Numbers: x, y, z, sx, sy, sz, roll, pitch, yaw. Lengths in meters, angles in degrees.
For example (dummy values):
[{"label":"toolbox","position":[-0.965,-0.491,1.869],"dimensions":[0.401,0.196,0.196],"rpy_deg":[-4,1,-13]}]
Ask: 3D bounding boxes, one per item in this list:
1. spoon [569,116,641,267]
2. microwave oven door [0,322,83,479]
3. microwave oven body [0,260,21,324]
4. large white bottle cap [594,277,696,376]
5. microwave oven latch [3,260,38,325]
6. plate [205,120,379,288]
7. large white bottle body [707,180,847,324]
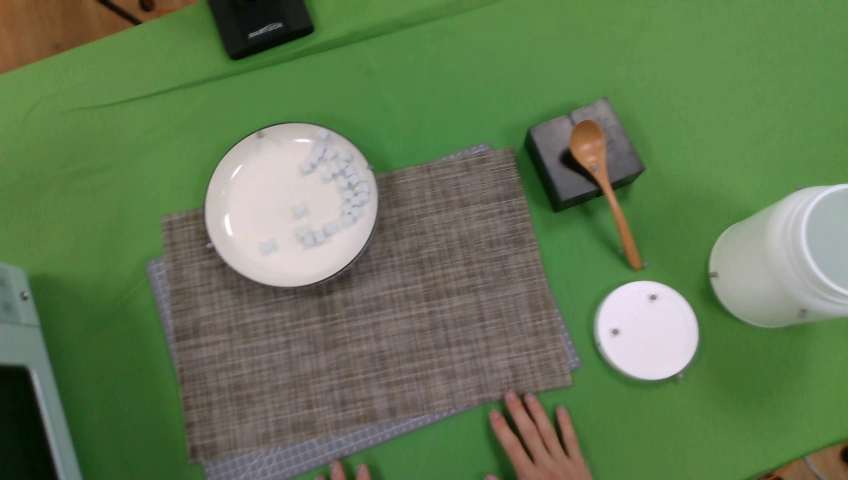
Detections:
[{"label":"spoon","position":[0.214,-0.052,0.701],"dimensions":[0.041,0.021,0.194],"rpy_deg":[-27,101,-5]},{"label":"microwave oven door","position":[-0.403,0.241,0.563],"dimensions":[0.039,0.245,0.354],"rpy_deg":[-22,78,-3]},{"label":"microwave oven body","position":[-0.555,0.258,0.568],"dimensions":[0.326,0.261,0.439],"rpy_deg":[-22,79,-4]},{"label":"large white bottle cap","position":[0.258,0.100,0.706],"dimensions":[0.115,0.018,0.114],"rpy_deg":[0,78,1]},{"label":"microwave oven latch","position":[-0.479,0.065,0.705],"dimensions":[0.030,0.029,0.079],"rpy_deg":[-22,79,-4]},{"label":"plate","position":[-0.156,-0.042,0.732],"dimensions":[0.209,0.038,0.208],"rpy_deg":[0,77,2]},{"label":"large white bottle body","position":[0.397,0.016,0.634],"dimensions":[0.130,0.185,0.130],"rpy_deg":[0,77,2]}]
